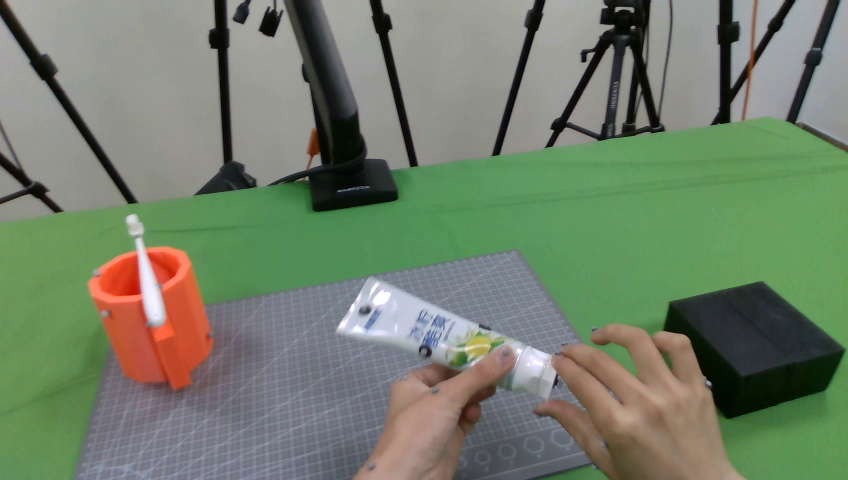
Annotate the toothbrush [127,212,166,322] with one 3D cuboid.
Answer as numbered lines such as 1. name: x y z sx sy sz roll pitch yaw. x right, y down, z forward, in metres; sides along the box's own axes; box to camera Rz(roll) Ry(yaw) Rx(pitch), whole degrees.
1. toothbrush: -0.250 0.019 0.543 0.014 0.017 0.180 -14 35 -24

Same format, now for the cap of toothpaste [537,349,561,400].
1. cap of toothpaste: 0.087 0.094 0.424 0.011 0.037 0.037 14 37 15

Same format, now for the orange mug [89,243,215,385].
1. orange mug: -0.243 0.072 0.557 0.083 0.101 0.125 -21 33 -26

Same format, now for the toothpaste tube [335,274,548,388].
1. toothpaste tube: 0.016 0.070 0.452 0.164 0.035 0.055 17 54 19
